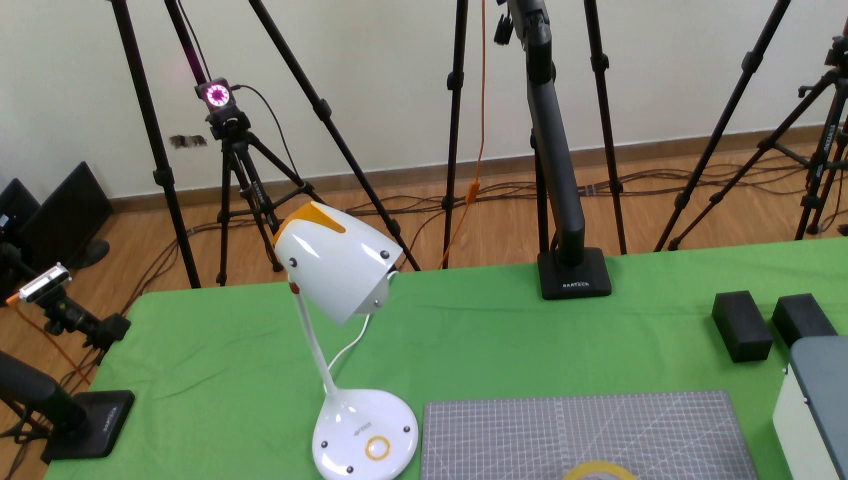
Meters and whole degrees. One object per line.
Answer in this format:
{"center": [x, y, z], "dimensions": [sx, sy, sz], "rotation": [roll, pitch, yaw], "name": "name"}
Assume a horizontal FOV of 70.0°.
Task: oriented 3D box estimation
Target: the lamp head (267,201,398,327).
{"center": [-0.108, 0.019, 0.656], "dimensions": [0.123, 0.113, 0.112], "rotation": [36, 53, -1], "name": "lamp head"}

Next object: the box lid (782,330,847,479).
{"center": [0.563, 0.234, 0.620], "dimensions": [0.263, 0.015, 0.368], "rotation": [-4, 42, 8], "name": "box lid"}

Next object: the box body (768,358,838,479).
{"center": [0.574, 0.289, 0.668], "dimensions": [0.254, 0.162, 0.360], "rotation": [-4, 42, 8], "name": "box body"}

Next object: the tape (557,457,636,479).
{"center": [0.220, 0.339, 0.770], "dimensions": [0.117, 0.053, 0.115], "rotation": [-5, 42, 5], "name": "tape"}

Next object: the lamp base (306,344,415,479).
{"center": [-0.114, 0.236, 0.864], "dimensions": [0.177, 0.182, 0.160], "rotation": [25, 53, 36], "name": "lamp base"}
